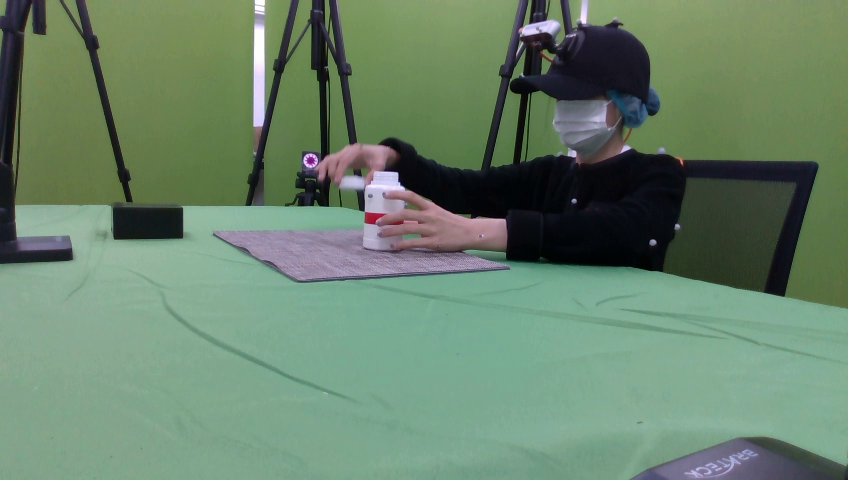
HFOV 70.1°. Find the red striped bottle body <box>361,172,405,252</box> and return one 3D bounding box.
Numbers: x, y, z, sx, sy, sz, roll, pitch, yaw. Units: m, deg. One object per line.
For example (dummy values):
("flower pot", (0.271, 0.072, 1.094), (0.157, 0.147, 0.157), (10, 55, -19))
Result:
("red striped bottle body", (-0.063, -0.044, 0.933), (0.063, 0.119, 0.063), (4, 7, 0))

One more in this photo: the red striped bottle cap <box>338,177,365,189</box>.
("red striped bottle cap", (-0.121, -0.095, 1.009), (0.044, 0.017, 0.044), (-1, 0, 0))
